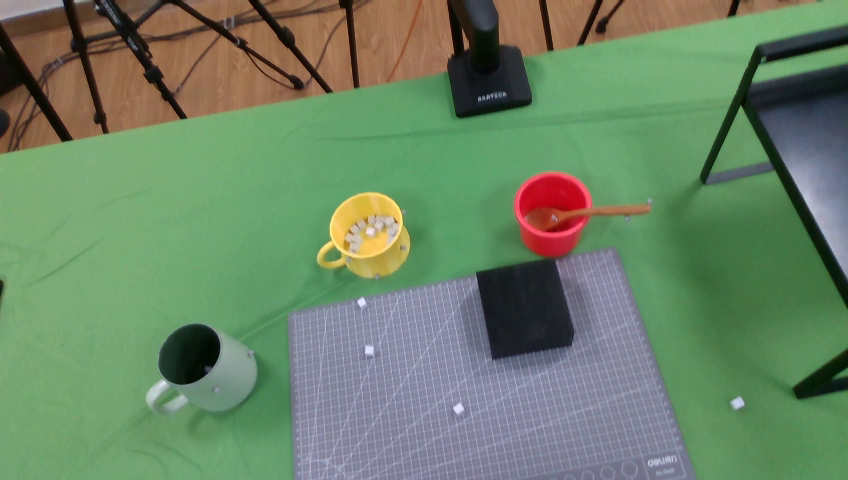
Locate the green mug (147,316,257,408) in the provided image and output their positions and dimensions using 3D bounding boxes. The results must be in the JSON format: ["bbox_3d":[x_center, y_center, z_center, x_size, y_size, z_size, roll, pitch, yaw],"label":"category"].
[{"bbox_3d":[-0.277,0.159,0.744,0.125,0.106,0.092,-41,65,-13],"label":"green mug"}]

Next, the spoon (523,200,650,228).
[{"bbox_3d":[0.195,-0.037,0.756,0.192,0.022,0.041,-4,54,58],"label":"spoon"}]

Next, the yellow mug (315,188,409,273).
[{"bbox_3d":[-0.088,-0.005,0.825,0.131,0.064,0.099,-29,63,-6],"label":"yellow mug"}]
